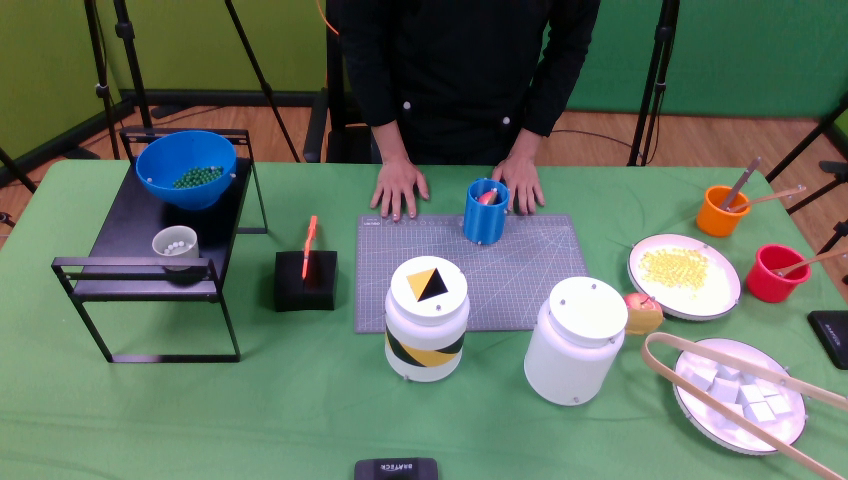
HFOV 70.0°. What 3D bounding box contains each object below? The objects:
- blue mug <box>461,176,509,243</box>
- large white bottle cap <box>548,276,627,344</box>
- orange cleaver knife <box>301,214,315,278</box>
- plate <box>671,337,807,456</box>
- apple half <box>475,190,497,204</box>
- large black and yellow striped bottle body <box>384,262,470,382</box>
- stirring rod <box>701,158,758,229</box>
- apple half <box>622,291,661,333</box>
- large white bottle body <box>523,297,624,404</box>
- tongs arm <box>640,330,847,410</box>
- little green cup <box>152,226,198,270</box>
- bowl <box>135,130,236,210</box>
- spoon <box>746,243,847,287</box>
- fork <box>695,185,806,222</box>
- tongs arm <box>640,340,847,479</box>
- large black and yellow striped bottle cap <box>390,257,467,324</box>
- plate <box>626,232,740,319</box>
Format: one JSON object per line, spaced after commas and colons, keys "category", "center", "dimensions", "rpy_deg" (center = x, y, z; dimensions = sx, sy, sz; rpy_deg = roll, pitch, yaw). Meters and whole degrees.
{"category": "blue mug", "center": [0.116, -0.070, 1.211], "dimensions": [0.082, 0.106, 0.115], "rpy_deg": [-8, 47, -12]}
{"category": "large white bottle cap", "center": [0.240, 0.100, 0.890], "dimensions": [0.115, 0.018, 0.114], "rpy_deg": [3, 47, -3]}
{"category": "orange cleaver knife", "center": [-0.218, 0.007, 1.131], "dimensions": [0.012, 0.077, 0.210], "rpy_deg": [7, 19, -9]}
{"category": "plate", "center": [0.503, 0.254, 0.984], "dimensions": [0.208, 0.039, 0.206], "rpy_deg": [2, 46, -2]}
{"category": "apple half", "center": [0.111, -0.067, 1.200], "dimensions": [0.032, 0.081, 0.081], "rpy_deg": [31, 51, 14]}
{"category": "large black and yellow striped bottle body", "center": [0.002, 0.127, 0.962], "dimensions": [0.131, 0.185, 0.130], "rpy_deg": [2, 48, -2]}
{"category": "stirring rod", "center": [0.634, -0.096, 1.257], "dimensions": [0.014, 0.006, 0.176], "rpy_deg": [38, 97, 30]}
{"category": "apple half", "center": [0.372, 0.124, 1.074], "dimensions": [0.081, 0.075, 0.053], "rpy_deg": [0, 42, 1]}
{"category": "large white bottle body", "center": [0.235, 0.159, 0.952], "dimensions": [0.131, 0.185, 0.130], "rpy_deg": [2, 47, -2]}
{"category": "tongs arm", "center": [0.543, 0.225, 0.969], "dimensions": [0.384, 0.026, 0.050], "rpy_deg": [22, 52, 13]}
{"category": "little green cup", "center": [-0.364, 0.013, 0.894], "dimensions": [0.061, 0.039, 0.061], "rpy_deg": [3, 46, -3]}
{"category": "bowl", "center": [-0.375, -0.102, 0.978], "dimensions": [0.151, 0.077, 0.150], "rpy_deg": [2, 46, -2]}
{"category": "spoon", "center": [0.702, 0.044, 1.126], "dimensions": [0.194, 0.022, 0.041], "rpy_deg": [-29, 38, 30]}
{"category": "fork", "center": [0.658, -0.074, 1.230], "dimensions": [0.207, 0.019, 0.028], "rpy_deg": [-23, 36, 37]}
{"category": "tongs arm", "center": [0.500, 0.277, 0.919], "dimensions": [0.386, 0.028, 0.028], "rpy_deg": [34, 59, 22]}
{"category": "large black and yellow striped bottle cap", "center": [0.007, 0.072, 0.899], "dimensions": [0.115, 0.019, 0.114], "rpy_deg": [2, 47, -2]}
{"category": "plate", "center": [0.488, 0.071, 1.157], "dimensions": [0.209, 0.038, 0.208], "rpy_deg": [3, 46, -3]}
